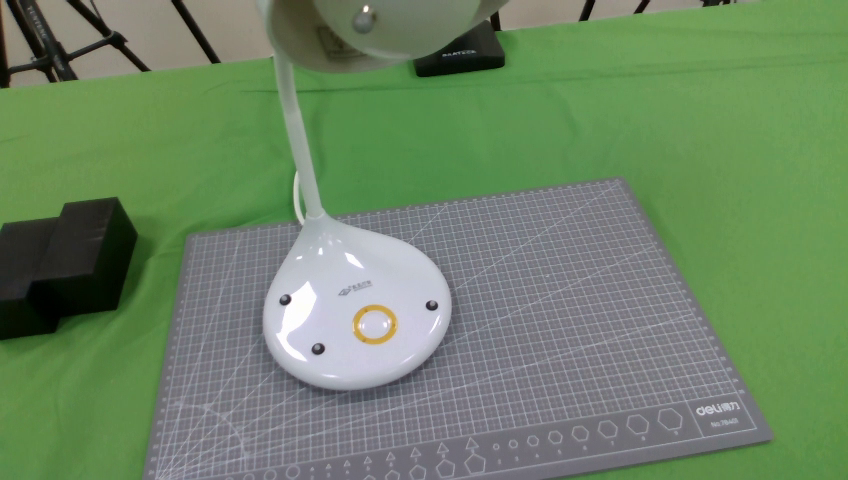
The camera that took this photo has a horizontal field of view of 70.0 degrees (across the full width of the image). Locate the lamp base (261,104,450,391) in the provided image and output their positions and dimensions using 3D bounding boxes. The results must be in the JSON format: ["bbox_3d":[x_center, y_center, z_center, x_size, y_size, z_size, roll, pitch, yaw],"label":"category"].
[{"bbox_3d":[-0.070,-0.002,0.469,0.161,0.182,0.177,-29,48,-23],"label":"lamp base"}]

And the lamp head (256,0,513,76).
[{"bbox_3d":[-0.023,-0.134,0.213,0.112,0.113,0.122,-23,78,-18],"label":"lamp head"}]
